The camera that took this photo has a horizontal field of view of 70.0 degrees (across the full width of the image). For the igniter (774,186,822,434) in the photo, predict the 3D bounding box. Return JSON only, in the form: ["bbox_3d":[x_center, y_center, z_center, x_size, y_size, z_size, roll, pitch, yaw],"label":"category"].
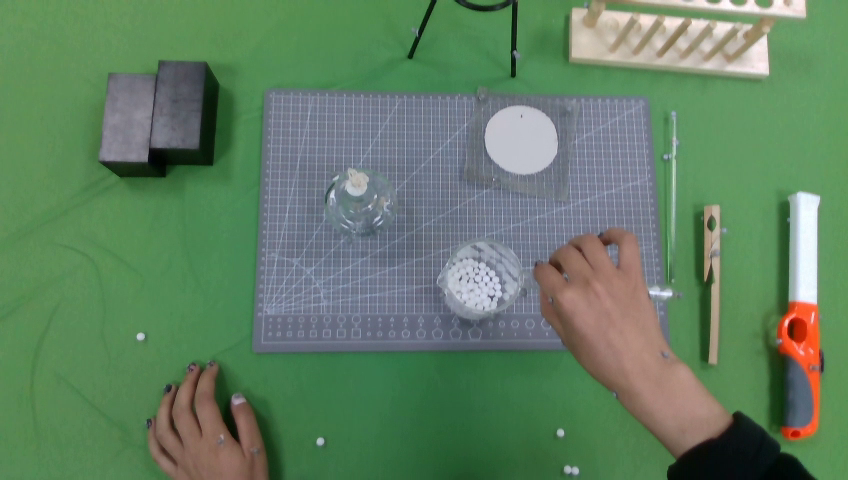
[{"bbox_3d":[0.415,0.074,0.673,0.057,0.025,0.275,10,78,-12],"label":"igniter"}]

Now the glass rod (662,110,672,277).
[{"bbox_3d":[0.281,-0.055,0.699,0.008,0.008,0.199,6,81,-3],"label":"glass rod"}]

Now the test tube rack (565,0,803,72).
[{"bbox_3d":[0.294,-0.254,0.701,0.242,0.085,0.066,4,78,-3],"label":"test tube rack"}]

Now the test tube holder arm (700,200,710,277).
[{"bbox_3d":[0.320,-0.001,0.688,0.010,0.015,0.087,-3,77,32],"label":"test tube holder arm"}]

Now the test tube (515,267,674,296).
[{"bbox_3d":[0.157,0.038,0.555,0.150,0.017,0.017,5,78,-7],"label":"test tube"}]

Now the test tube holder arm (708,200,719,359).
[{"bbox_3d":[0.322,0.042,0.676,0.013,0.015,0.177,-5,77,32],"label":"test tube holder arm"}]

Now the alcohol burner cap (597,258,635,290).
[{"bbox_3d":[0.211,0.034,0.658,0.034,0.048,0.033,1,78,-3],"label":"alcohol burner cap"}]

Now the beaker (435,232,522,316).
[{"bbox_3d":[0.050,0.039,0.617,0.084,0.100,0.073,-8,78,-4],"label":"beaker"}]

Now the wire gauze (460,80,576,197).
[{"bbox_3d":[0.110,-0.119,0.699,0.125,0.011,0.121,11,79,-2],"label":"wire gauze"}]

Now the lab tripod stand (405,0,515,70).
[{"bbox_3d":[0.049,-0.259,0.661,0.148,0.132,0.148,1,80,-3],"label":"lab tripod stand"}]

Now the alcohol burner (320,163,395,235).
[{"bbox_3d":[-0.069,-0.047,0.619,0.078,0.119,0.077,0,77,-1],"label":"alcohol burner"}]
